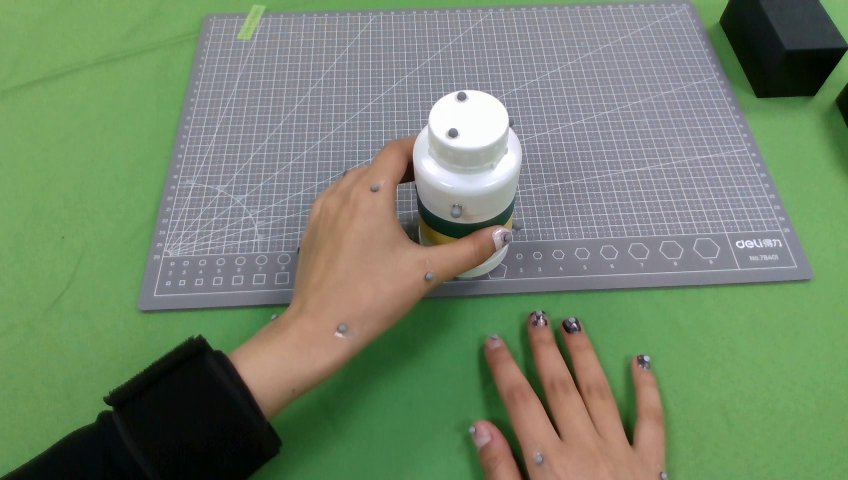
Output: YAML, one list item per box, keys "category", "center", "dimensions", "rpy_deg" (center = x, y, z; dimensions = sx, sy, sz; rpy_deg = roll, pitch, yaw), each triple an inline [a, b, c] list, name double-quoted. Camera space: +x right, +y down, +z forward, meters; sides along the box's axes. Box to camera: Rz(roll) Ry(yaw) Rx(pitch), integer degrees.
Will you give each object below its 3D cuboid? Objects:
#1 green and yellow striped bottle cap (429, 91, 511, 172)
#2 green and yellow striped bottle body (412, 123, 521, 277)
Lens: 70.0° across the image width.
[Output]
- category: "green and yellow striped bottle cap"
  center: [0.025, -0.059, 0.327]
  dimensions: [0.045, 0.020, 0.045]
  rpy_deg: [-1, 57, 2]
- category: "green and yellow striped bottle body"
  center: [0.025, -0.032, 0.371]
  dimensions: [0.063, 0.121, 0.062]
  rpy_deg: [-1, 58, 2]
